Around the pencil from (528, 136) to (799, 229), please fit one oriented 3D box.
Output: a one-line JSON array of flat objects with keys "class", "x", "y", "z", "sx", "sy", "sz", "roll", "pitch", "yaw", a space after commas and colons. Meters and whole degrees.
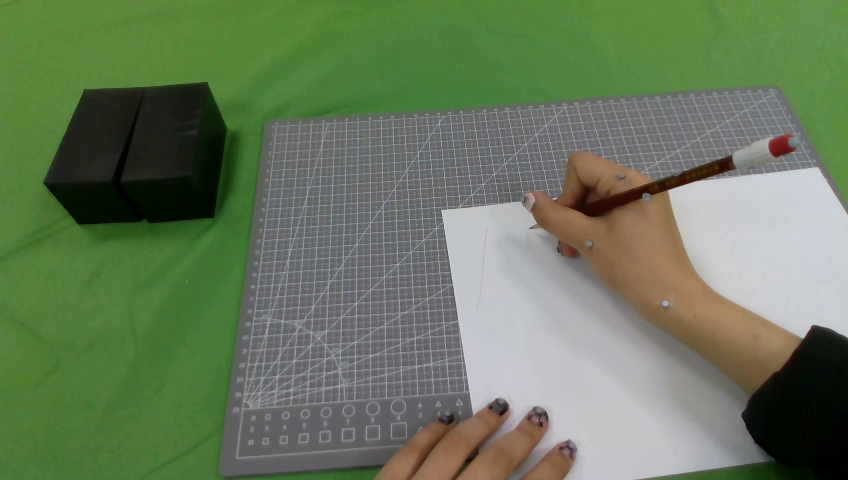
[{"class": "pencil", "x": 0.126, "y": -0.027, "z": 0.367, "sx": 0.012, "sy": 0.193, "sz": 0.012, "roll": 7, "pitch": 75, "yaw": -30}]
